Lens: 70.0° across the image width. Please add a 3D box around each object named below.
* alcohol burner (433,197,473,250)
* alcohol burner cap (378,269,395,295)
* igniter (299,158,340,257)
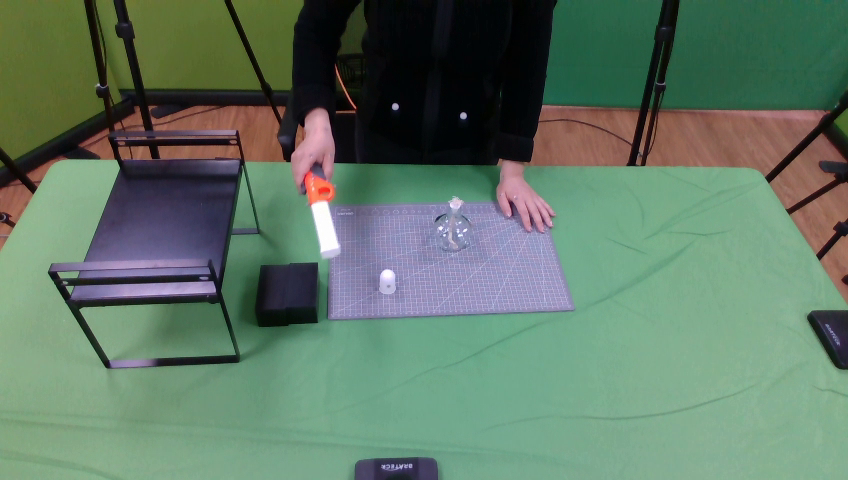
[{"bbox_3d":[0.058,-0.038,1.169,0.078,0.119,0.077,3,45,-3],"label":"alcohol burner"},{"bbox_3d":[-0.067,0.073,1.103,0.034,0.048,0.033,3,46,-3],"label":"alcohol burner cap"},{"bbox_3d":[-0.184,-0.066,1.067,0.057,0.025,0.274,-12,42,-9],"label":"igniter"}]
